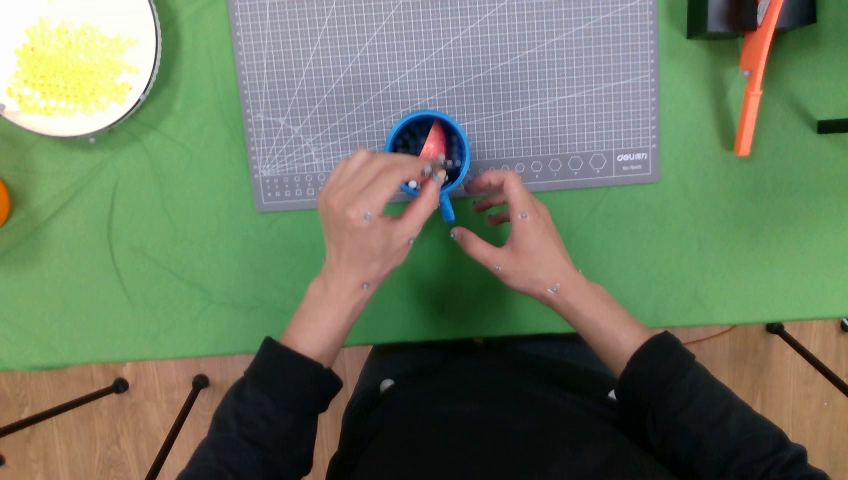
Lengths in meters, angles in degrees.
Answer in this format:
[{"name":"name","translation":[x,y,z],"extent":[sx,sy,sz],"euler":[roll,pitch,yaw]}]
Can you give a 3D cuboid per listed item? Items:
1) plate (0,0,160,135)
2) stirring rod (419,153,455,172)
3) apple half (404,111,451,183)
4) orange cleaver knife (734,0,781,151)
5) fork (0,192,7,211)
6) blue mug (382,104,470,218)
[{"name":"plate","translation":[-0.373,-0.214,0.624],"extent":[0.209,0.038,0.209],"euler":[0,100,0]},{"name":"stirring rod","translation":[0.014,-0.066,0.527],"extent":[0.014,0.176,0.006],"euler":[-41,89,10]},{"name":"apple half","translation":[0.011,-0.089,0.606],"extent":[0.033,0.081,0.081],"euler":[25,99,5]},{"name":"orange cleaver knife","translation":[0.336,-0.196,0.615],"extent":[0.012,0.076,0.213],"euler":[-1,126,9]},{"name":"fork","translation":[-0.536,-0.049,0.594],"extent":[0.209,0.018,0.028],"euler":[5,101,-46]},{"name":"blue mug","translation":[0.007,-0.078,0.617],"extent":[0.082,0.105,0.117],"euler":[-19,100,3]}]
